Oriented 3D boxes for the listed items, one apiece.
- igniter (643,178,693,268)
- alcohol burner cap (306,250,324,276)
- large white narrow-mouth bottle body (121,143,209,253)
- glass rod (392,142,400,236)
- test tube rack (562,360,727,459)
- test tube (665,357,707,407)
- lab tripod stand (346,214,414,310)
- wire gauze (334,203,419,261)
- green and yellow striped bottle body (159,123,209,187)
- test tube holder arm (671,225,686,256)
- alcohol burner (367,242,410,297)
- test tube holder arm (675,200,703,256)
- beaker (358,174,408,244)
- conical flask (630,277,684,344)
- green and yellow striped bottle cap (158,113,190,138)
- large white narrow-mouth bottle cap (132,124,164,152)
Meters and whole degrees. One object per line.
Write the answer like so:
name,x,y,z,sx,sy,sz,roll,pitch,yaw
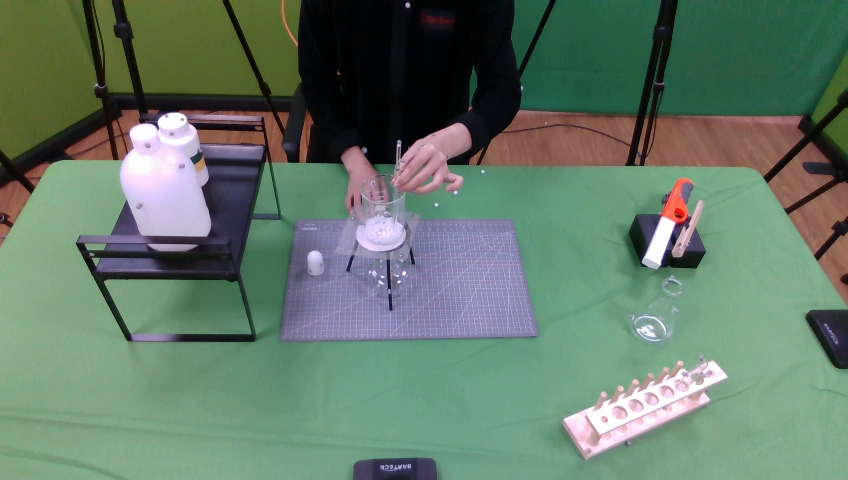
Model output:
igniter,0.488,-0.042,1.205,0.057,0.025,0.276,30,51,11
alcohol burner cap,-0.204,0.041,1.125,0.034,0.048,0.033,2,46,-2
large white narrow-mouth bottle body,-0.378,-0.077,0.875,0.102,0.195,0.101,3,46,-3
glass rod,-0.044,-0.074,0.951,0.008,0.200,0.008,3,48,-3
test tube rack,0.341,0.247,0.940,0.243,0.085,0.066,-16,49,-18
test tube,0.386,0.215,0.905,0.017,0.151,0.017,1,52,-1
lab tripod stand,-0.075,0.030,1.082,0.148,0.132,0.147,1,47,-1
wire gauze,-0.079,-0.013,1.031,0.121,0.011,0.124,8,48,7
green and yellow striped bottle body,-0.395,-0.145,0.989,0.063,0.120,0.063,2,46,-2
test tube holder arm,0.494,0.001,1.166,0.010,0.015,0.087,1,36,42
alcohol burner,-0.064,0.047,1.080,0.078,0.120,0.077,1,47,-1
test tube holder arm,0.523,-0.025,1.190,0.013,0.015,0.178,1,36,41
beaker,-0.066,-0.049,1.001,0.084,0.101,0.073,-18,49,-20
conical flask,0.408,0.117,1.045,0.075,0.122,0.075,2,46,-2
green and yellow striped bottle cap,-0.393,-0.180,0.951,0.045,0.020,0.045,2,44,-2
large white narrow-mouth bottle cap,-0.370,-0.138,0.812,0.038,0.024,0.037,3,46,-3
